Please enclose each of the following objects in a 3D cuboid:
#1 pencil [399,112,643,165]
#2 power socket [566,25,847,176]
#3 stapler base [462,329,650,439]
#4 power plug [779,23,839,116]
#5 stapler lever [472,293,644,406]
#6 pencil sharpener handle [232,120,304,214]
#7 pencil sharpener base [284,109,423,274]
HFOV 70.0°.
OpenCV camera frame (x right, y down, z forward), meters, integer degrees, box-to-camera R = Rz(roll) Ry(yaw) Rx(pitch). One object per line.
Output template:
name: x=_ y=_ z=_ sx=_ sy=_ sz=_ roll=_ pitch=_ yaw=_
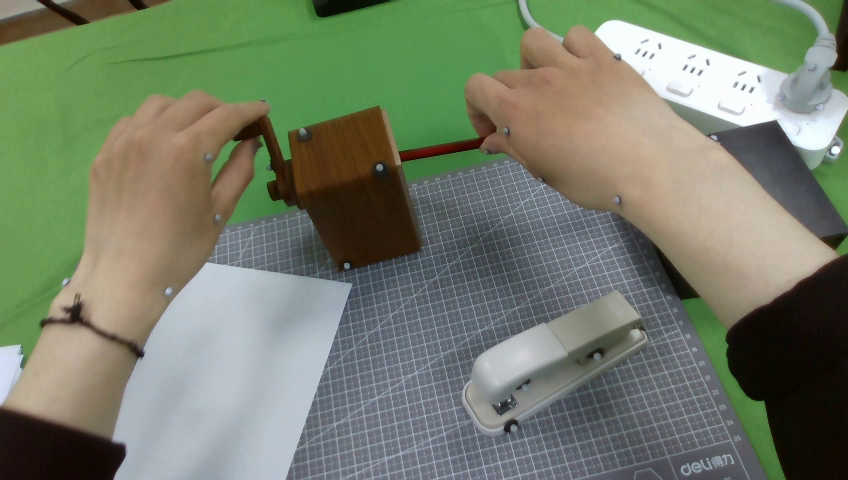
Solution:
pencil: x=0.055 y=-0.067 z=0.416 sx=0.194 sy=0.012 sz=0.012 roll=-10 pitch=56 yaw=-1
power socket: x=0.230 y=-0.121 z=0.503 sx=0.225 sy=0.033 sz=0.072 roll=29 pitch=65 yaw=25
stapler base: x=0.086 y=0.081 z=0.398 sx=0.130 sy=0.024 sz=0.041 roll=-27 pitch=58 yaw=-10
power plug: x=0.303 y=-0.122 z=0.464 sx=0.072 sy=0.053 sz=0.035 roll=-42 pitch=60 yaw=-16
stapler lever: x=0.084 y=0.066 z=0.377 sx=0.118 sy=0.040 sz=0.026 roll=-27 pitch=58 yaw=-11
pencil sharpener handle: x=-0.107 y=-0.046 z=0.414 sx=0.030 sy=0.036 sz=0.068 roll=-16 pitch=97 yaw=-1
pencil sharpener base: x=-0.049 y=-0.031 z=0.441 sx=0.077 sy=0.108 sz=0.060 roll=-16 pitch=57 yaw=-1
